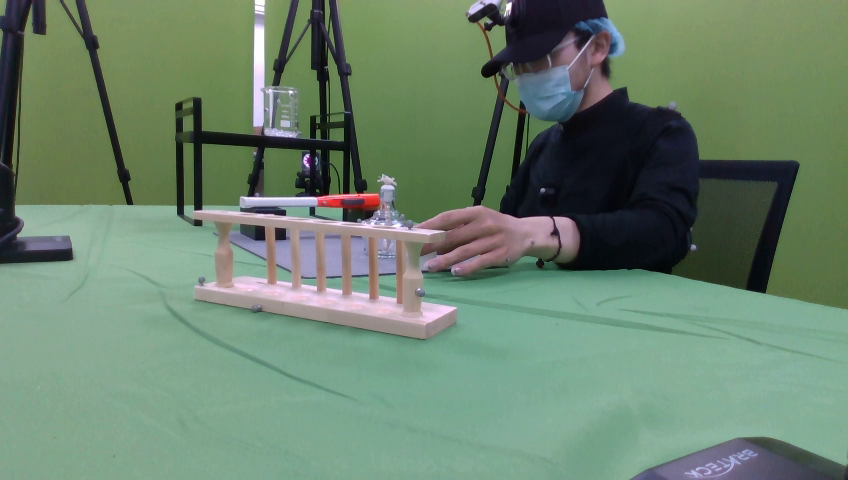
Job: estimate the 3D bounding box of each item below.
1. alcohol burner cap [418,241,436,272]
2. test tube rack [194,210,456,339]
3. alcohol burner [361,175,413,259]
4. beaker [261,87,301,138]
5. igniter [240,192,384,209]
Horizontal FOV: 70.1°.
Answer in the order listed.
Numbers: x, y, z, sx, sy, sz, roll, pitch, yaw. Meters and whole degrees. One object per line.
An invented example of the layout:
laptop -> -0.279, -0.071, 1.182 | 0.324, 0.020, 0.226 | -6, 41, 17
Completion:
alcohol burner cap -> 0.000, 0.016, 0.787 | 0.034, 0.048, 0.034 | 5, 6, 0
test tube rack -> -0.093, 0.023, 0.545 | 0.241, 0.085, 0.067 | 6, 8, 25
alcohol burner -> -0.054, -0.033, 0.870 | 0.078, 0.119, 0.078 | 1, 9, 0
beaker -> -0.298, -0.263, 1.255 | 0.084, 0.100, 0.073 | -5, 10, -40
igniter -> -0.188, -0.070, 1.078 | 0.278, 0.025, 0.057 | -5, 11, -35
